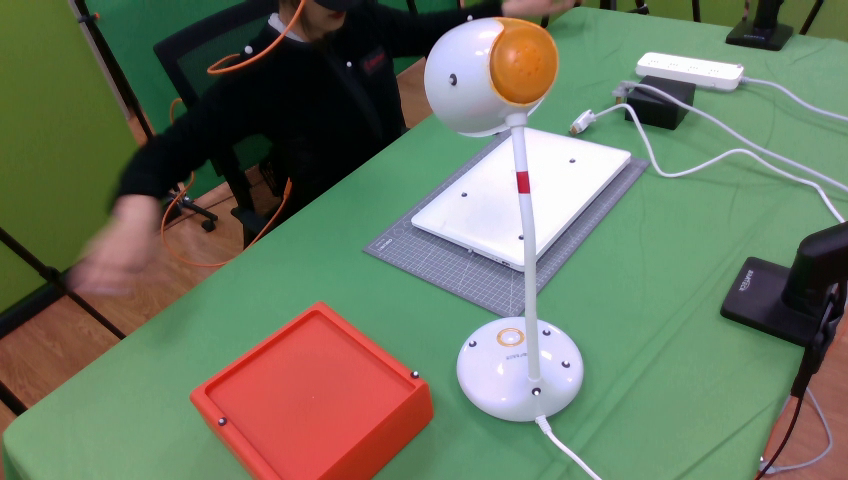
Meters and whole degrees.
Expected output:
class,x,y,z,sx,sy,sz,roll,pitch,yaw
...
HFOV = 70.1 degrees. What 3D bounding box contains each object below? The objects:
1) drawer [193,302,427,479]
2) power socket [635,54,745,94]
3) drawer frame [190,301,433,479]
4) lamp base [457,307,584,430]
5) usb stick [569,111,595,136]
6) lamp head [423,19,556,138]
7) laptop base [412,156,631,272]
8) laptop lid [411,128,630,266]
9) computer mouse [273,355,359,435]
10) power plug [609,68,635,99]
class,x,y,z,sx,sy,sz,roll,pitch,yaw
drawer,-0.136,0.197,0.733,0.195,0.073,0.210,-36,47,-29
power socket,0.563,-0.358,1.295,0.225,0.033,0.072,21,49,31
drawer frame,-0.134,0.197,0.731,0.211,0.083,0.202,29,52,36
lamp base,0.115,0.107,0.713,0.161,0.181,0.178,-16,43,-8
usb stick,0.309,-0.227,1.189,0.059,0.021,0.027,-44,13,-19
lamp head,0.068,-0.151,0.563,0.113,0.113,0.122,-21,18,-13
laptop base,0.176,-0.084,1.055,0.233,0.023,0.355,21,48,36
laptop lid,0.172,-0.093,1.049,0.239,0.013,0.358,23,49,36
computer mouse,-0.138,0.191,0.762,0.063,0.041,0.116,-38,49,-27
power plug,0.406,-0.322,1.233,0.035,0.072,0.052,5,36,-34
